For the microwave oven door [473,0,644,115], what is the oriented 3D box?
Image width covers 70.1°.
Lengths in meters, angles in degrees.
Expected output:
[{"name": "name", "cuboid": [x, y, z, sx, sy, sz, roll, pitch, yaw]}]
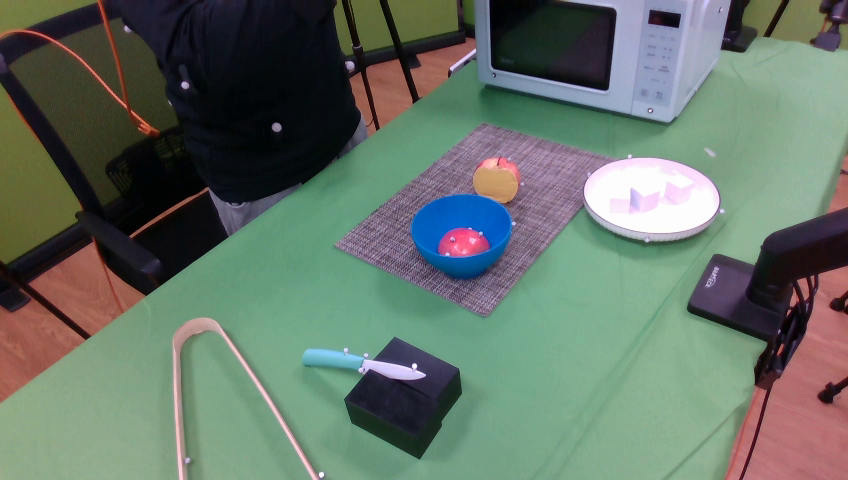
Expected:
[{"name": "microwave oven door", "cuboid": [0.257, -0.396, 1.199, 0.353, 0.245, 0.039, 21, 48, 29]}]

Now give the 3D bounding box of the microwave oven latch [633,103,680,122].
[{"name": "microwave oven latch", "cuboid": [0.443, -0.249, 1.157, 0.078, 0.029, 0.030, 20, 48, 29]}]

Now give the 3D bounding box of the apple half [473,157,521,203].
[{"name": "apple half", "cuboid": [0.128, -0.107, 1.030, 0.080, 0.075, 0.053, 4, 38, 19]}]

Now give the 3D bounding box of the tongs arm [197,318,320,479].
[{"name": "tongs arm", "cuboid": [-0.200, 0.207, 0.751, 0.028, 0.028, 0.384, -31, 45, -22]}]

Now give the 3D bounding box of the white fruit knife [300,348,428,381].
[{"name": "white fruit knife", "cuboid": [-0.080, 0.154, 0.748, 0.206, 0.027, 0.016, 1, 20, 34]}]

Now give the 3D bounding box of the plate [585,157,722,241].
[{"name": "plate", "cuboid": [0.367, -0.063, 0.979, 0.207, 0.039, 0.206, -4, 40, 4]}]

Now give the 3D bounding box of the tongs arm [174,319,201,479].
[{"name": "tongs arm", "cuboid": [-0.272, 0.234, 0.723, 0.051, 0.026, 0.381, -18, 40, -15]}]

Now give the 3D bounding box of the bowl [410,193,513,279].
[{"name": "bowl", "cuboid": [0.058, 0.005, 0.905, 0.151, 0.077, 0.150, -4, 40, 4]}]

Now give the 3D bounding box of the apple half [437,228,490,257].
[{"name": "apple half", "cuboid": [0.056, 0.002, 0.901, 0.081, 0.033, 0.081, -3, 41, 3]}]

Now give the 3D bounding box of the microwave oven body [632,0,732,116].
[{"name": "microwave oven body", "cuboid": [0.377, -0.462, 1.267, 0.438, 0.261, 0.327, 21, 48, 30]}]
